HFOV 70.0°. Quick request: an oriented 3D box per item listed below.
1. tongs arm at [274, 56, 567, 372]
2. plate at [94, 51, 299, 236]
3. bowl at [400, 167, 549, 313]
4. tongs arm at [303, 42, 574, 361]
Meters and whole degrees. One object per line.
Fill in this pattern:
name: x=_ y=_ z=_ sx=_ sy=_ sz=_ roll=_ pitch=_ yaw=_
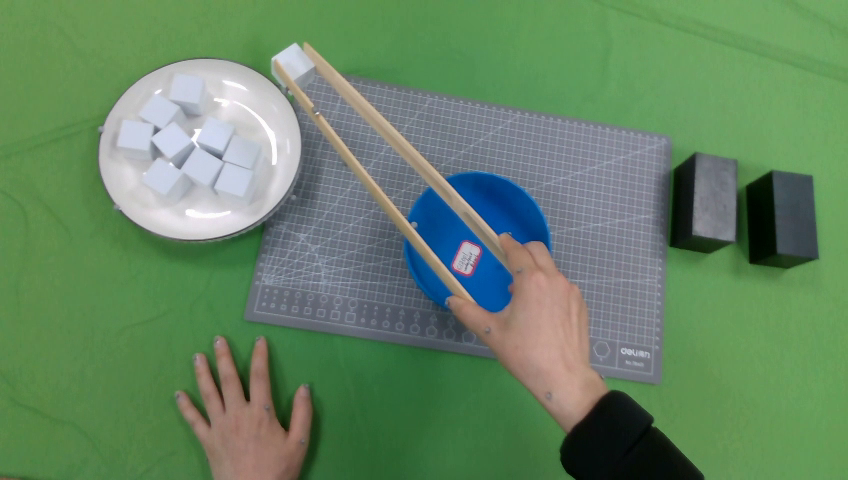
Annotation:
tongs arm: x=-0.014 y=-0.035 z=0.545 sx=0.051 sy=0.026 sz=0.382 roll=-31 pitch=74 yaw=-21
plate: x=-0.237 y=-0.101 z=0.649 sx=0.208 sy=0.039 sz=0.206 roll=2 pitch=75 yaw=-5
bowl: x=0.047 y=0.008 z=0.633 sx=0.152 sy=0.077 sz=0.150 roll=2 pitch=75 yaw=-7
tongs arm: x=0.003 y=-0.047 z=0.554 sx=0.028 sy=0.028 sz=0.385 roll=-35 pitch=75 yaw=-26
